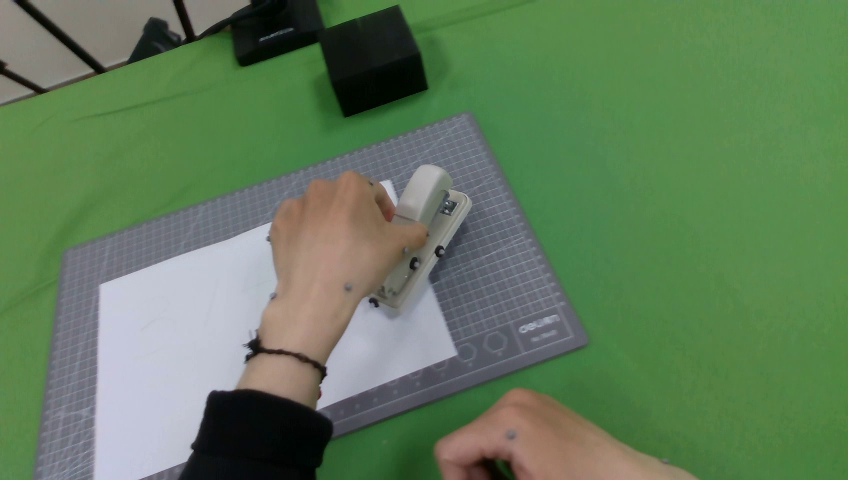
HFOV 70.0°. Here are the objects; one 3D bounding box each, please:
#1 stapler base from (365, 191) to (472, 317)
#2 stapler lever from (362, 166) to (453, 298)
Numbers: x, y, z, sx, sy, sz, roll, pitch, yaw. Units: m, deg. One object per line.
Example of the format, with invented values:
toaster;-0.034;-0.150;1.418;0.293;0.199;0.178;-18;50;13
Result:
stapler base;-0.005;0.003;0.519;0.041;0.025;0.130;18;64;33
stapler lever;-0.013;-0.010;0.499;0.026;0.040;0.117;18;64;33
